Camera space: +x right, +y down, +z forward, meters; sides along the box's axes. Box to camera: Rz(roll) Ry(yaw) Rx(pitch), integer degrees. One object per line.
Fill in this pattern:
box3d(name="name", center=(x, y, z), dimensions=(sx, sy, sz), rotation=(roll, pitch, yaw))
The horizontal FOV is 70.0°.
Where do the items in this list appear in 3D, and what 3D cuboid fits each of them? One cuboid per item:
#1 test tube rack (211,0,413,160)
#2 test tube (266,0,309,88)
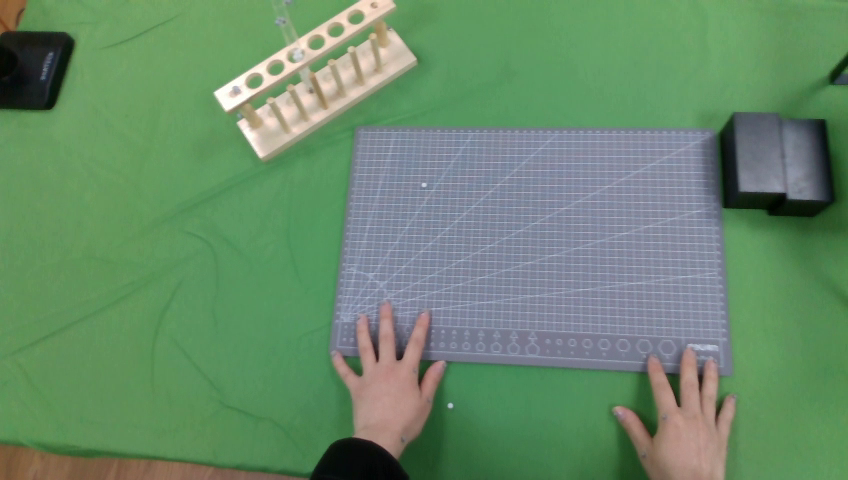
box3d(name="test tube rack", center=(-0.136, -0.209, 0.772), dimensions=(0.242, 0.086, 0.066), rotation=(-34, 72, -5))
box3d(name="test tube", center=(-0.161, -0.233, 0.729), dimensions=(0.017, 0.151, 0.017), rotation=(-1, 67, 4))
